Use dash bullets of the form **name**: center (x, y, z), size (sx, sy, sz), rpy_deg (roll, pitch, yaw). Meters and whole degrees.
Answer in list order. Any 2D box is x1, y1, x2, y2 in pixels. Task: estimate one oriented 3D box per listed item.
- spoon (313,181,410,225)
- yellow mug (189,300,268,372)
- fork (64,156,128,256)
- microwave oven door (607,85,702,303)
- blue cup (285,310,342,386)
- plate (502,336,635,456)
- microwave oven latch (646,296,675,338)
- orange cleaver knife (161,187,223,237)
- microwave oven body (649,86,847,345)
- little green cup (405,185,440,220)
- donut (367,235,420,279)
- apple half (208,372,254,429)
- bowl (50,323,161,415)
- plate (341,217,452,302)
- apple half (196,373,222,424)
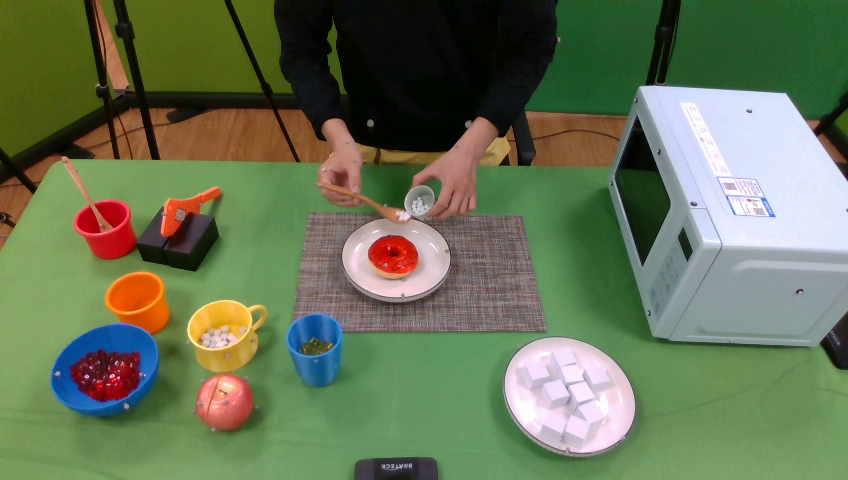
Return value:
- **spoon**: center (-0.104, -0.066, 1.040), size (0.195, 0.021, 0.041), rpy_deg (25, 30, -34)
- **yellow mug**: center (-0.316, 0.148, 1.002), size (0.131, 0.064, 0.099), rpy_deg (-32, 56, -31)
- **fork**: center (-0.614, -0.064, 1.130), size (0.028, 0.018, 0.207), rpy_deg (-30, 97, -17)
- **microwave oven door**: center (0.423, -0.094, 1.141), size (0.039, 0.245, 0.353), rpy_deg (2, 46, -1)
- **blue cup**: center (-0.170, 0.179, 0.958), size (0.093, 0.101, 0.092), rpy_deg (2, 44, -1)
- **plate**: center (0.225, 0.248, 0.963), size (0.208, 0.039, 0.206), rpy_deg (2, 46, -2)
- **microwave oven latch**: center (0.412, 0.134, 1.061), size (0.030, 0.029, 0.078), rpy_deg (4, 45, 1)
- **orange cleaver knife**: center (-0.448, -0.058, 1.180), size (0.012, 0.077, 0.211), rpy_deg (13, 17, 6)
- **microwave oven body**: center (0.568, -0.053, 1.118), size (0.326, 0.261, 0.439), rpy_deg (2, 45, -1)
- **little green cup**: center (0.000, -0.068, 1.130), size (0.061, 0.039, 0.061), rpy_deg (-8, 69, 21)
- **donut**: center (-0.056, 0.032, 1.132), size (0.099, 0.048, 0.098), rpy_deg (3, 45, -3)
- **apple half**: center (-0.283, 0.244, 0.908), size (0.053, 0.075, 0.080), rpy_deg (7, 42, -1)
- **bowl**: center (-0.472, 0.209, 0.924), size (0.151, 0.077, 0.150), rpy_deg (2, 45, -2)
- **plate**: center (-0.052, 0.039, 1.140), size (0.209, 0.038, 0.208), rpy_deg (2, 46, -2)
- **apple half**: center (-0.322, 0.239, 0.907), size (0.033, 0.081, 0.081), rpy_deg (6, 46, 0)
